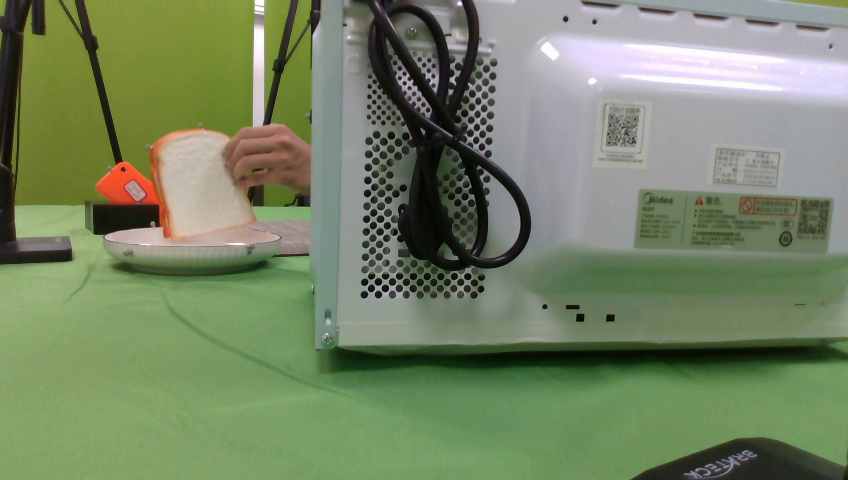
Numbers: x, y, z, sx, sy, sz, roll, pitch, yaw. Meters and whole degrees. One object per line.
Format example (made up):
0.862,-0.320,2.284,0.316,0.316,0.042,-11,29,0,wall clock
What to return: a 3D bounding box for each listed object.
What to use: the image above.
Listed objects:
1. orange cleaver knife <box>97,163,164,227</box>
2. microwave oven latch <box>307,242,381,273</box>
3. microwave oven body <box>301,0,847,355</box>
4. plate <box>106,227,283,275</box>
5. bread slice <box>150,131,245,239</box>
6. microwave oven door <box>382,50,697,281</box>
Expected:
-0.472,-0.062,1.087,0.212,0.077,0.012,33,-14,-36,orange cleaver knife
-0.086,0.019,0.655,0.079,0.029,0.030,2,7,-10,microwave oven latch
0.120,-0.053,0.535,0.443,0.260,0.325,2,7,-11,microwave oven body
-0.288,0.013,0.772,0.208,0.039,0.207,2,7,0,plate
-0.299,-0.076,0.800,0.107,0.134,0.018,-14,16,-32,bread slice
0.135,-0.077,0.685,0.357,0.243,0.039,1,8,-12,microwave oven door
